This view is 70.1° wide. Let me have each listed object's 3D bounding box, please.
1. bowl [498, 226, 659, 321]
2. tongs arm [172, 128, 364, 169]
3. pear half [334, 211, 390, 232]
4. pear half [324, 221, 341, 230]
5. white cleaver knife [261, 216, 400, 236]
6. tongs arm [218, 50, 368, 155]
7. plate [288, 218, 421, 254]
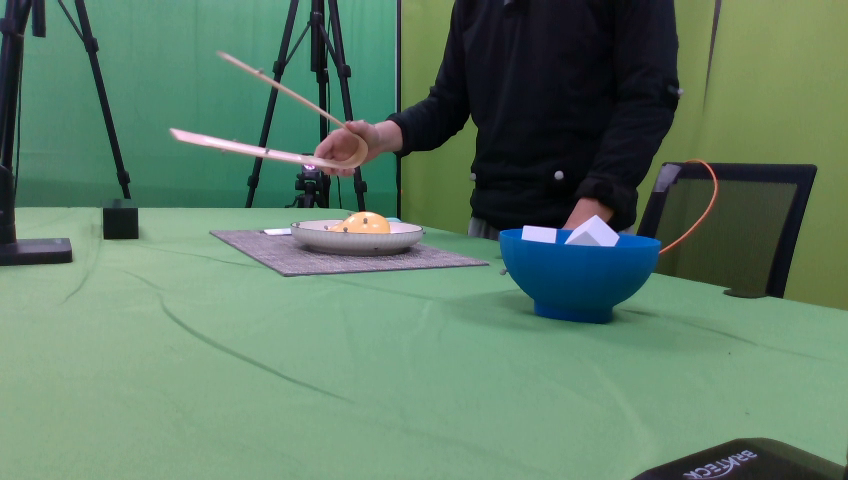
[{"bbox_3d":[0.145,0.032,0.585,0.151,0.077,0.151,2,7,0],"label":"bowl"},{"bbox_3d":[-0.221,-0.150,0.957,0.026,0.050,0.386,41,17,23],"label":"tongs arm"},{"bbox_3d":[-0.107,-0.016,0.920,0.110,0.056,0.076,-4,4,-20],"label":"pear half"},{"bbox_3d":[-0.126,-0.019,1.001,0.088,0.031,0.070,8,3,2],"label":"pear half"},{"bbox_3d":[-0.168,-0.021,1.156,0.288,0.021,0.065,-7,19,-33],"label":"white cleaver knife"},{"bbox_3d":[-0.182,-0.203,0.941,0.027,0.028,0.389,37,6,23],"label":"tongs arm"},{"bbox_3d":[-0.109,-0.007,0.956,0.208,0.039,0.207,2,7,0],"label":"plate"}]
